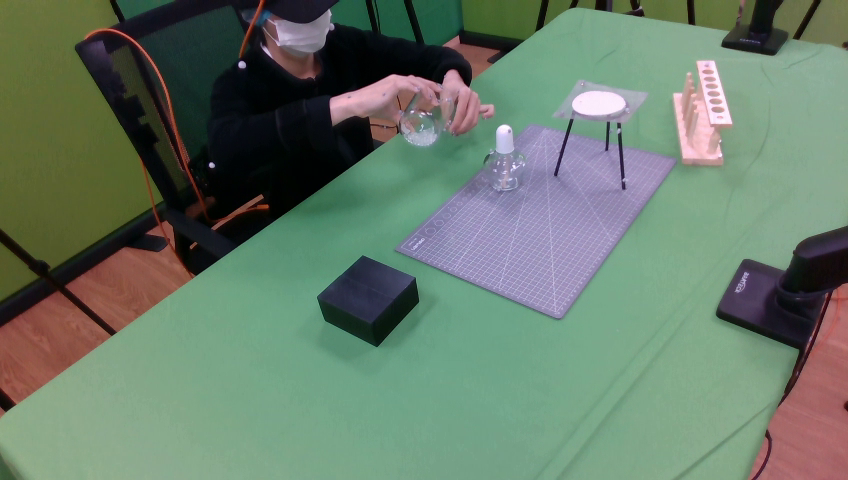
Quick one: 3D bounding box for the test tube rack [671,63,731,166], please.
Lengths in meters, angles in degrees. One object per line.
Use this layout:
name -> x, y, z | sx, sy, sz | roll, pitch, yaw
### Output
test tube rack -> 0.513, -0.241, 1.132 | 0.066, 0.085, 0.242 | 4, 41, 14

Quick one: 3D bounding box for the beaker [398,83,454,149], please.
beaker -> 0.003, -0.201, 0.998 | 0.073, 0.084, 0.100 | -1, 38, 21

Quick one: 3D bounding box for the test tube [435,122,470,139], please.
test tube -> 0.055, -0.202, 1.122 | 0.017, 0.017, 0.151 | 11, 7, 22

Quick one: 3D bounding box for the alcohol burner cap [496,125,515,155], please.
alcohol burner cap -> 0.138, -0.172, 1.028 | 0.034, 0.048, 0.033 | -5, 38, 4

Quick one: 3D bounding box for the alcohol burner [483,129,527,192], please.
alcohol burner -> 0.141, -0.144, 1.050 | 0.078, 0.119, 0.077 | -4, 42, 4

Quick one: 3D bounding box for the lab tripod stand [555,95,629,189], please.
lab tripod stand -> 0.300, -0.174, 1.045 | 0.148, 0.132, 0.147 | -5, 38, 5

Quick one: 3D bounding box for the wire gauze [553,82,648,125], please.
wire gauze -> 0.293, -0.226, 1.002 | 0.120, 0.011, 0.125 | 17, 45, 27
